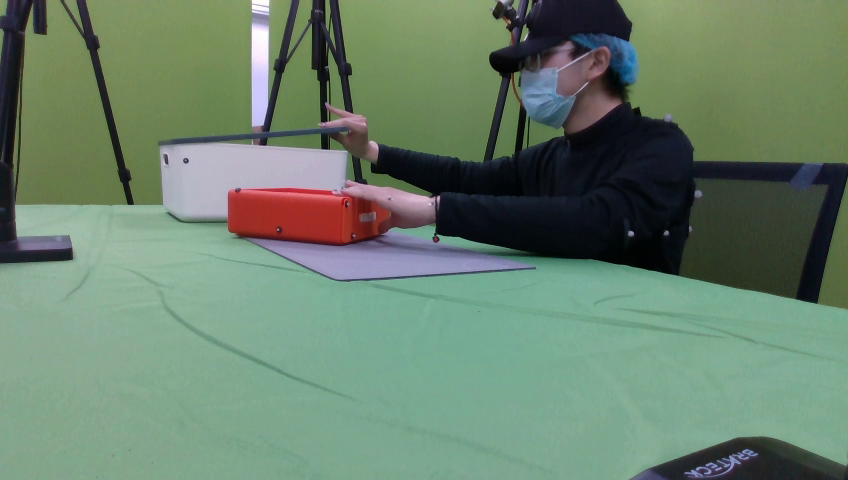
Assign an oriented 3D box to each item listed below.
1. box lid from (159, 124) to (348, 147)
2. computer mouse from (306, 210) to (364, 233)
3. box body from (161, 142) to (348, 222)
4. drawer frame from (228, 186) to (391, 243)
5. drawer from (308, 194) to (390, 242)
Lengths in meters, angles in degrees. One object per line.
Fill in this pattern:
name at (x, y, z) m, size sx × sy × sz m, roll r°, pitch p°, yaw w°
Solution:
box lid at (-0.376, -0.231, 1.339) m, size 0.373 × 0.015 × 0.262 m, roll -11°, pitch 13°, yaw -29°
computer mouse at (-0.153, -0.032, 1.052) m, size 0.062 × 0.041 × 0.117 m, roll 1°, pitch 0°, yaw 18°
box body at (-0.380, -0.132, 1.352) m, size 0.366 × 0.160 × 0.253 m, roll -2°, pitch 8°, yaw -30°
drawer frame at (-0.193, -0.050, 1.060) m, size 0.213 × 0.082 × 0.202 m, roll 4°, pitch 8°, yaw 17°
drawer at (-0.189, -0.047, 1.060) m, size 0.211 × 0.073 × 0.195 m, roll 4°, pitch 8°, yaw 18°
